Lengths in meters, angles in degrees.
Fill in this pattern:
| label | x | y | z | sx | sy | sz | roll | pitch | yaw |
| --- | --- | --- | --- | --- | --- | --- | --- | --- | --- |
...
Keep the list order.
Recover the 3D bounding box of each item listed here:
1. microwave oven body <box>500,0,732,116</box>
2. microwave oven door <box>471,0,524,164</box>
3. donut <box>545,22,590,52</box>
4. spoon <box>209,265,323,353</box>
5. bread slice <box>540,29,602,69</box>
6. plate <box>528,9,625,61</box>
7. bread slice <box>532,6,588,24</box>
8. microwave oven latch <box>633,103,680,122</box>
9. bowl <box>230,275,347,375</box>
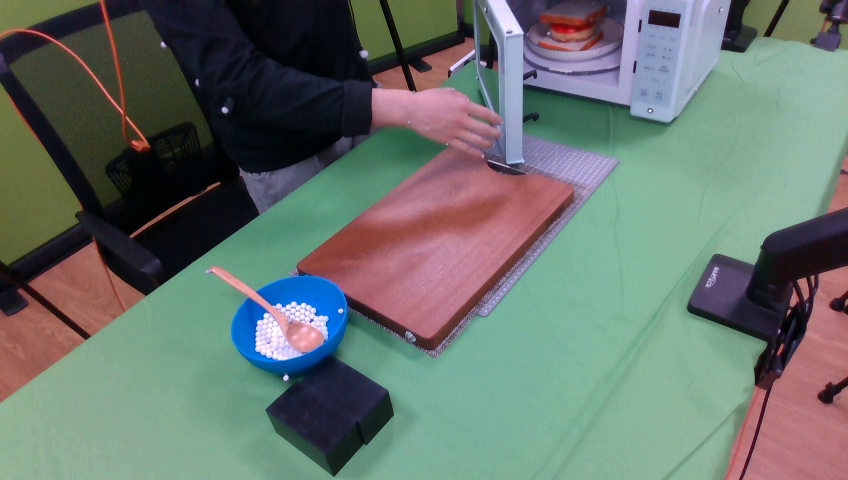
| label | x | y | z | sx | sy | sz | roll | pitch | yaw |
| --- | --- | --- | --- | --- | --- | --- | --- | --- | --- |
| microwave oven body | 0.377 | -0.462 | 1.267 | 0.438 | 0.261 | 0.327 | 21 | 48 | 30 |
| microwave oven door | 0.136 | -0.342 | 1.153 | 0.039 | 0.245 | 0.353 | -8 | 40 | -1 |
| donut | 0.308 | -0.432 | 1.297 | 0.099 | 0.048 | 0.098 | -23 | 33 | 17 |
| spoon | -0.213 | 0.087 | 0.806 | 0.193 | 0.021 | 0.042 | 37 | 56 | 11 |
| bread slice | 0.330 | -0.426 | 1.341 | 0.104 | 0.019 | 0.131 | 18 | 59 | 40 |
| plate | 0.334 | -0.447 | 1.330 | 0.207 | 0.039 | 0.206 | -6 | 43 | 6 |
| bread slice | 0.291 | -0.476 | 1.277 | 0.106 | 0.018 | 0.134 | 4 | 29 | 18 |
| microwave oven latch | 0.443 | -0.249 | 1.157 | 0.078 | 0.029 | 0.030 | 20 | 48 | 29 |
| bowl | -0.171 | 0.125 | 0.802 | 0.151 | 0.077 | 0.150 | -4 | 40 | 4 |
